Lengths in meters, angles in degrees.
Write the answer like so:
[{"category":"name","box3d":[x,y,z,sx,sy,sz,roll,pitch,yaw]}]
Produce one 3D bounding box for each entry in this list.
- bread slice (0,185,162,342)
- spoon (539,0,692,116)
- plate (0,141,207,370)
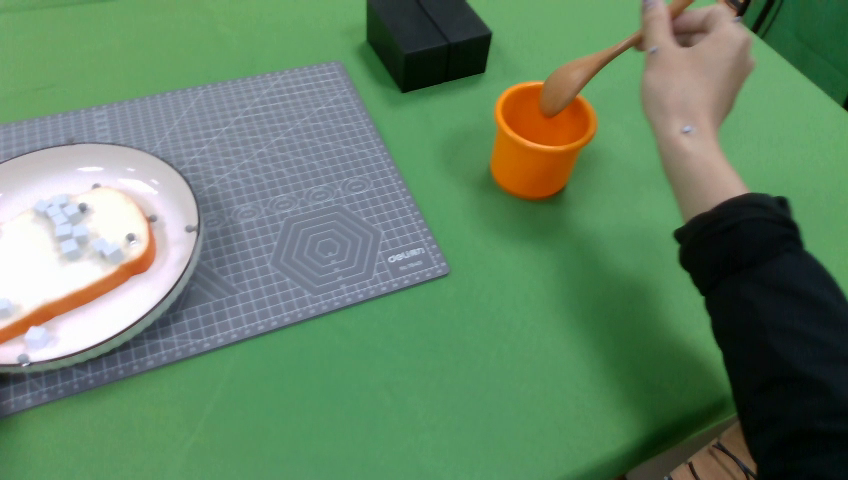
[{"category":"bread slice","box3d":[-0.279,0.006,0.475,0.131,0.019,0.104,-31,63,-24]},{"category":"spoon","box3d":[0.167,-0.165,0.486,0.022,0.194,0.041,25,42,-41]},{"category":"plate","box3d":[-0.275,0.008,0.470,0.209,0.038,0.207,3,54,-4]}]
